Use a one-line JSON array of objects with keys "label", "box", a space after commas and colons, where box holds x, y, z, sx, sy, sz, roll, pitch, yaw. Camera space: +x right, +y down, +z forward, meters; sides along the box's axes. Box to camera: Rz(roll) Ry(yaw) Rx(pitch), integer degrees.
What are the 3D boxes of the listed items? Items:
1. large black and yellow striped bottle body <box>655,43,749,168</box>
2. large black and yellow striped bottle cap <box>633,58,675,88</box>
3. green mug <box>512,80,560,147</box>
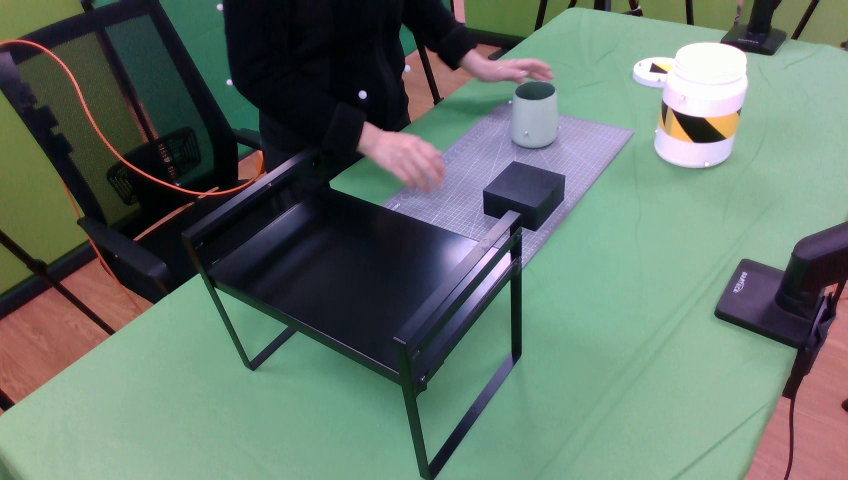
[{"label": "large black and yellow striped bottle body", "box": [0.481, -0.233, 1.050, 0.131, 0.185, 0.130, -4, 41, 4]}, {"label": "large black and yellow striped bottle cap", "box": [0.521, -0.370, 1.332, 0.115, 0.019, 0.114, -3, 41, 4]}, {"label": "green mug", "box": [0.217, -0.251, 1.169, 0.092, 0.105, 0.125, 1, 41, 12]}]
